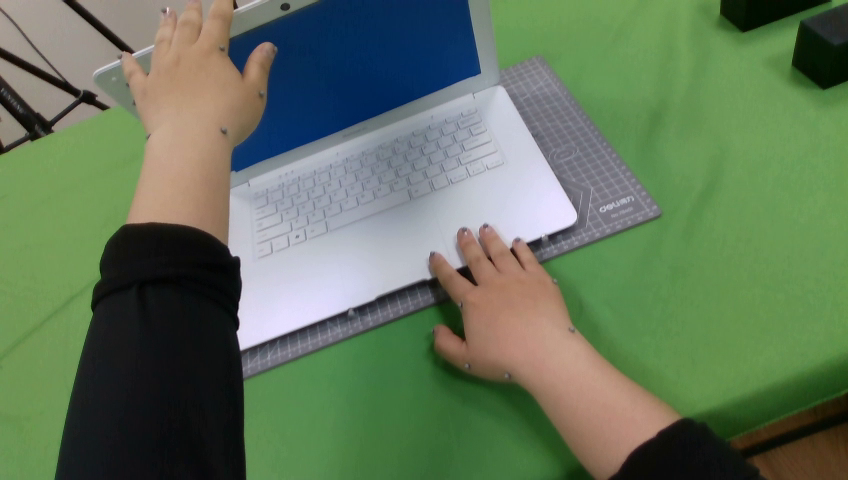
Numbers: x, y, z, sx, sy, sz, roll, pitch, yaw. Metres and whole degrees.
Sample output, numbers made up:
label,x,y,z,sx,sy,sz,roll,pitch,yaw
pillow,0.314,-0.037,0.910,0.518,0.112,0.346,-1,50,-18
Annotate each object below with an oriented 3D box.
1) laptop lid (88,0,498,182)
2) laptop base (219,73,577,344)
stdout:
label,x,y,z,sx,sy,sz,roll,pitch,yaw
laptop lid,-0.100,-0.172,0.601,0.356,0.243,0.013,-22,67,5
laptop base,-0.048,-0.044,0.634,0.354,0.023,0.233,-21,51,3
